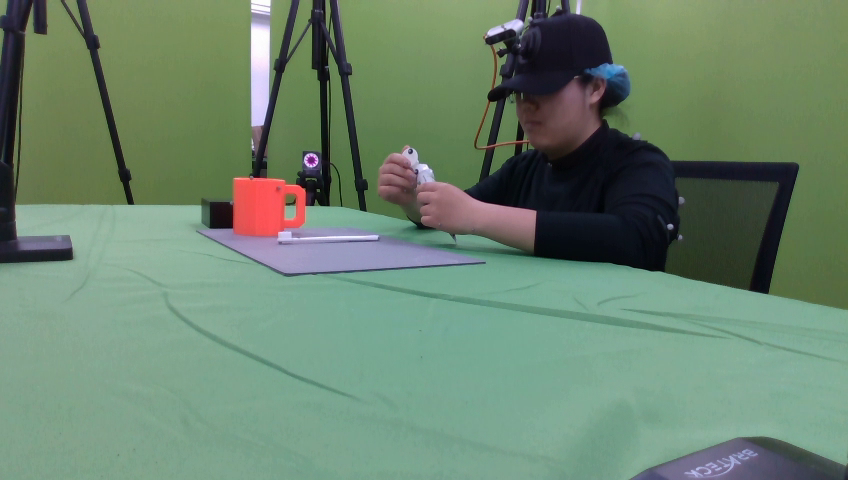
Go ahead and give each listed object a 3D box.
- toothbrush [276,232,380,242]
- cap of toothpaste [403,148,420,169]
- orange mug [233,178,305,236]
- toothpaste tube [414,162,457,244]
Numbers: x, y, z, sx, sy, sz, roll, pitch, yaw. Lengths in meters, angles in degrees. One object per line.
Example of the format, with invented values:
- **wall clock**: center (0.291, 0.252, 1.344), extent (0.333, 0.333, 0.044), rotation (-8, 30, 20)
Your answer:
- **toothbrush**: center (-0.153, -0.005, 0.990), extent (0.183, 0.016, 0.014), rotation (0, -4, -33)
- **cap of toothpaste**: center (-0.022, -0.148, 1.092), extent (0.037, 0.037, 0.011), rotation (8, 8, 40)
- **orange mug**: center (-0.273, -0.061, 1.067), extent (0.127, 0.101, 0.083), rotation (-5, 10, -24)
- **toothpaste tube**: center (0.021, -0.070, 1.071), extent (0.034, 0.164, 0.055), rotation (-28, -23, 15)
